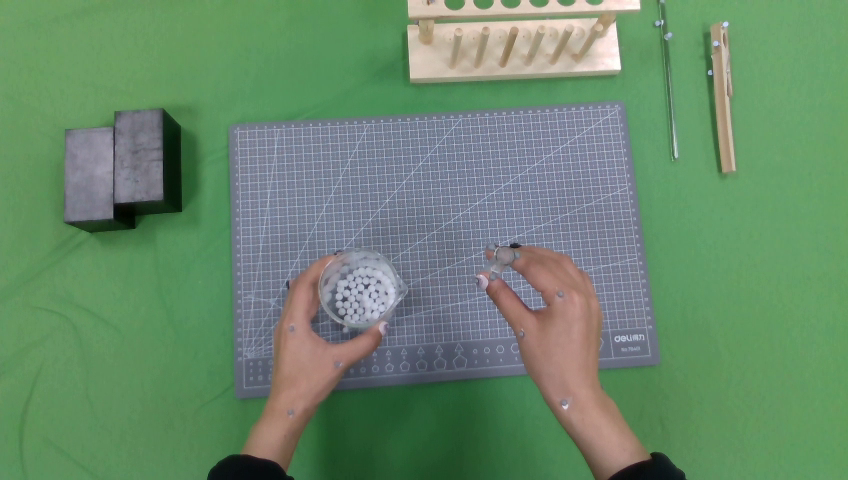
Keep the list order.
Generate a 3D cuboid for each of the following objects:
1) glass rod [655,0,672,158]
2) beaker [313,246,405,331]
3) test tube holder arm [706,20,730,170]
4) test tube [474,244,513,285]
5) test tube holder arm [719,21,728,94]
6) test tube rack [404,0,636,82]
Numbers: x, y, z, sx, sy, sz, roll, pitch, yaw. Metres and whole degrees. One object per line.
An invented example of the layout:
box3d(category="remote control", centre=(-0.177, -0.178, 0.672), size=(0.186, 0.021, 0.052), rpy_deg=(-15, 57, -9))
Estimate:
box3d(category="glass rod", centre=(0.279, -0.192, 0.707), size=(0.008, 0.008, 0.199), rpy_deg=(0, 80, -2))
box3d(category="beaker", centre=(-0.061, 0.052, 0.601), size=(0.084, 0.100, 0.073), rpy_deg=(2, 78, -3))
box3d(category="test tube holder arm", centre=(0.338, -0.168, 0.696), size=(0.013, 0.015, 0.177), rpy_deg=(7, 79, -30))
box3d(category="test tube", centre=(0.057, 0.024, 0.516), size=(0.017, 0.150, 0.017), rpy_deg=(0, 79, -1))
box3d(category="test tube holder arm", centre=(0.344, -0.211, 0.707), size=(0.010, 0.015, 0.087), rpy_deg=(8, 78, -30))
box3d(category="test tube rack", centre=(0.100, -0.229, 0.669), size=(0.242, 0.085, 0.066), rpy_deg=(-3, 80, -2))
